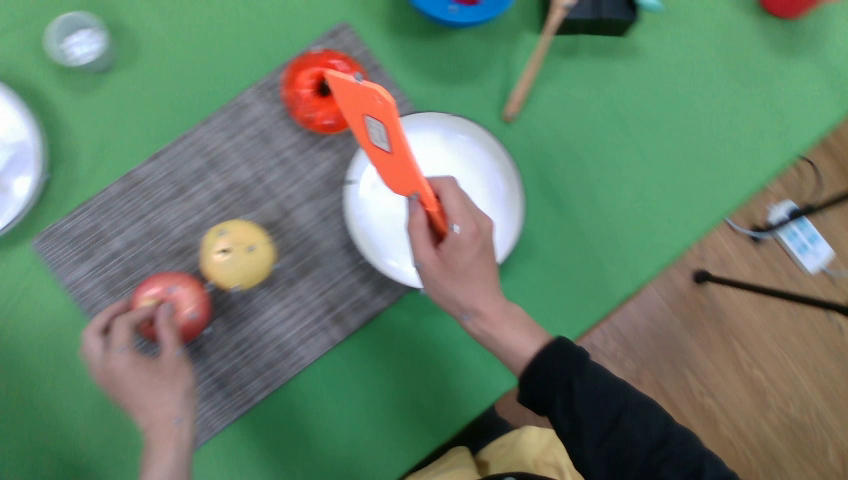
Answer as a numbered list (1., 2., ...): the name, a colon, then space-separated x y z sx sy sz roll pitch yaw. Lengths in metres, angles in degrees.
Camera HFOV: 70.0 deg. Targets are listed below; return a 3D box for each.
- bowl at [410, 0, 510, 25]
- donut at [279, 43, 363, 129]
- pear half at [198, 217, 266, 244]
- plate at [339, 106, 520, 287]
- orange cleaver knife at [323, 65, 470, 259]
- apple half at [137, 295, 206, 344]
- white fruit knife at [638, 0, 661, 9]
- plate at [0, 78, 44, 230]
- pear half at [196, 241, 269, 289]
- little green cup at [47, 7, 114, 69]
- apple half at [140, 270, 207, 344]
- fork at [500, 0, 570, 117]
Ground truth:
1. bowl: 0.038 -0.313 0.704 0.151 0.077 0.151 0 87 -5
2. donut: -0.117 -0.176 0.697 0.099 0.048 0.099 0 89 -2
3. pear half: -0.210 -0.010 0.658 0.070 0.088 0.031 -8 87 0
4. plate: 0.007 -0.049 0.703 0.209 0.038 0.208 0 87 -4
5. orange cleaver knife: -0.020 -0.060 0.524 0.012 0.076 0.213 -51 133 -22
6. apple half: -0.265 0.093 0.656 0.081 0.081 0.032 -32 86 -5
7. white fruit knife: 0.206 -0.351 0.700 0.027 0.016 0.207 -34 88 -34
8. plate: -0.525 -0.092 0.669 0.208 0.039 0.207 0 87 -4
9. pear half: -0.207 0.025 0.647 0.076 0.110 0.056 -7 87 -1
10. little green cup: -0.386 -0.226 0.687 0.061 0.038 0.061 0 87 -4
11. apple half: -0.276 0.067 0.658 0.053 0.074 0.081 19 91 -1
12. fork: 0.138 -0.238 0.702 0.028 0.018 0.208 23 106 -9
